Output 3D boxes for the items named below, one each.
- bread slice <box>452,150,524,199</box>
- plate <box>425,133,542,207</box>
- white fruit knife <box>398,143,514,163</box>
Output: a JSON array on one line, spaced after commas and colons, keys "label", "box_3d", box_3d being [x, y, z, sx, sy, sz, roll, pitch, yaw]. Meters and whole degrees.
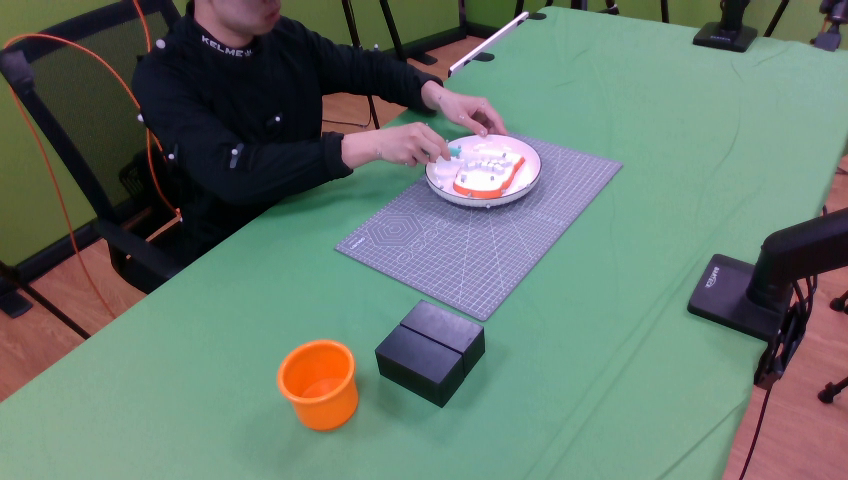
[{"label": "bread slice", "box_3d": [0.112, -0.119, 1.079, 0.104, 0.019, 0.131, 12, 43, 21]}, {"label": "plate", "box_3d": [0.105, -0.121, 1.079, 0.209, 0.038, 0.208, -4, 41, 4]}, {"label": "white fruit knife", "box_3d": [0.057, -0.154, 1.075, 0.208, 0.027, 0.016, 6, 52, -2]}]
